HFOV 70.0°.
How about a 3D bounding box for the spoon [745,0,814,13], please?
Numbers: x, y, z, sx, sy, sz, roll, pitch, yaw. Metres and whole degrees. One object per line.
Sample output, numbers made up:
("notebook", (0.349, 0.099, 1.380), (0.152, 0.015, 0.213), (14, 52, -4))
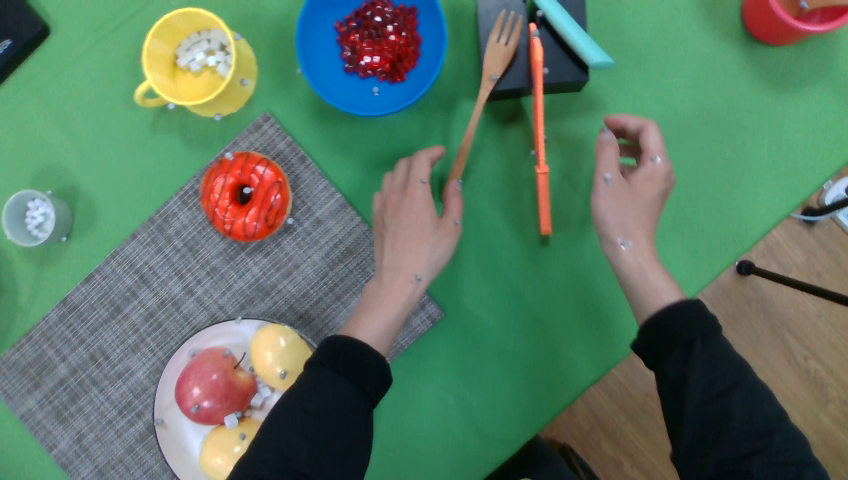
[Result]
("spoon", (0.399, -0.230, 0.566), (0.192, 0.022, 0.041), (27, 95, 47))

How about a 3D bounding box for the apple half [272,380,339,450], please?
("apple half", (-0.135, 0.192, 0.647), (0.081, 0.033, 0.081), (6, 109, 18))

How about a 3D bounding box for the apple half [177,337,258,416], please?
("apple half", (-0.227, 0.151, 0.650), (0.074, 0.053, 0.081), (-36, 93, 5))

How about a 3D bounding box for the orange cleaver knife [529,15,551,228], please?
("orange cleaver knife", (0.117, -0.116, 0.619), (0.012, 0.076, 0.213), (-5, 117, 9))

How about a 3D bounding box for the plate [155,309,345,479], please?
("plate", (-0.187, 0.177, 0.666), (0.209, 0.038, 0.209), (0, 92, 4))

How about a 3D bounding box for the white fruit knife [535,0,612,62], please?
("white fruit knife", (0.110, -0.254, 0.599), (0.027, 0.016, 0.207), (-39, 87, -26))

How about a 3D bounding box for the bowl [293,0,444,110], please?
("bowl", (-0.052, -0.204, 0.629), (0.151, 0.077, 0.151), (0, 92, 3))

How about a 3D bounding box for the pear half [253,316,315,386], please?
("pear half", (-0.155, 0.126, 0.648), (0.070, 0.031, 0.088), (-15, 95, 23))

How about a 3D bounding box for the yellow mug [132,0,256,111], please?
("yellow mug", (-0.253, -0.186, 0.647), (0.131, 0.064, 0.100), (-31, 90, 5))

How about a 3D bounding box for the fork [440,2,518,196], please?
("fork", (0.052, -0.137, 0.621), (0.028, 0.018, 0.208), (17, 113, -4))

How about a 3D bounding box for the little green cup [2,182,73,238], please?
("little green cup", (-0.429, -0.032, 0.677), (0.061, 0.038, 0.061), (0, 92, 4))

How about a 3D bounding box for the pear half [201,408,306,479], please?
("pear half", (-0.184, 0.227, 0.653), (0.110, 0.056, 0.076), (9, 97, 0))

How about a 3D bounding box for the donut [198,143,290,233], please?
("donut", (-0.194, -0.056, 0.655), (0.099, 0.048, 0.099), (0, 94, 5))
